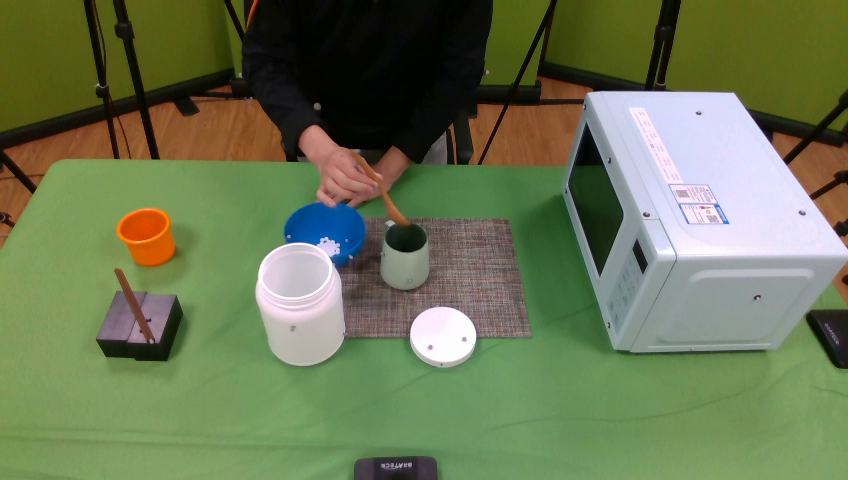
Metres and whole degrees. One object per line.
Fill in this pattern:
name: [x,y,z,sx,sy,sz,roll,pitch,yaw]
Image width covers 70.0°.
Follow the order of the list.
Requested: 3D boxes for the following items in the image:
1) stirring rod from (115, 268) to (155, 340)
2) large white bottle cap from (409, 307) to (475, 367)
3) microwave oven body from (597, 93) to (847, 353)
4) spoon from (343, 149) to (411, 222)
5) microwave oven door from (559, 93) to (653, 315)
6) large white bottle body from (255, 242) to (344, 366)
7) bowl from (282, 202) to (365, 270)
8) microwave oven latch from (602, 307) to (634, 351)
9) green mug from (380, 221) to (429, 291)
stirring rod: [-0.479,0.103,0.999,0.014,0.006,0.175,7,32,-49]
large white bottle cap: [0.031,0.165,1.041,0.115,0.018,0.114,2,47,-2]
microwave oven body: [0.475,-0.041,1.109,0.326,0.261,0.438,-1,45,-4]
spoon: [-0.076,-0.085,0.986,0.041,0.195,0.021,20,66,42]
microwave oven door: [0.327,-0.074,1.123,0.039,0.245,0.353,-1,46,-5]
large white bottle body: [-0.196,0.102,0.967,0.131,0.185,0.130,2,49,-2]
bowl: [-0.185,0.006,1.136,0.151,0.077,0.150,3,46,-3]
microwave oven latch: [0.332,0.153,1.044,0.030,0.029,0.078,-1,45,-4]
green mug: [-0.043,0.020,1.116,0.092,0.105,0.124,-20,51,-21]
